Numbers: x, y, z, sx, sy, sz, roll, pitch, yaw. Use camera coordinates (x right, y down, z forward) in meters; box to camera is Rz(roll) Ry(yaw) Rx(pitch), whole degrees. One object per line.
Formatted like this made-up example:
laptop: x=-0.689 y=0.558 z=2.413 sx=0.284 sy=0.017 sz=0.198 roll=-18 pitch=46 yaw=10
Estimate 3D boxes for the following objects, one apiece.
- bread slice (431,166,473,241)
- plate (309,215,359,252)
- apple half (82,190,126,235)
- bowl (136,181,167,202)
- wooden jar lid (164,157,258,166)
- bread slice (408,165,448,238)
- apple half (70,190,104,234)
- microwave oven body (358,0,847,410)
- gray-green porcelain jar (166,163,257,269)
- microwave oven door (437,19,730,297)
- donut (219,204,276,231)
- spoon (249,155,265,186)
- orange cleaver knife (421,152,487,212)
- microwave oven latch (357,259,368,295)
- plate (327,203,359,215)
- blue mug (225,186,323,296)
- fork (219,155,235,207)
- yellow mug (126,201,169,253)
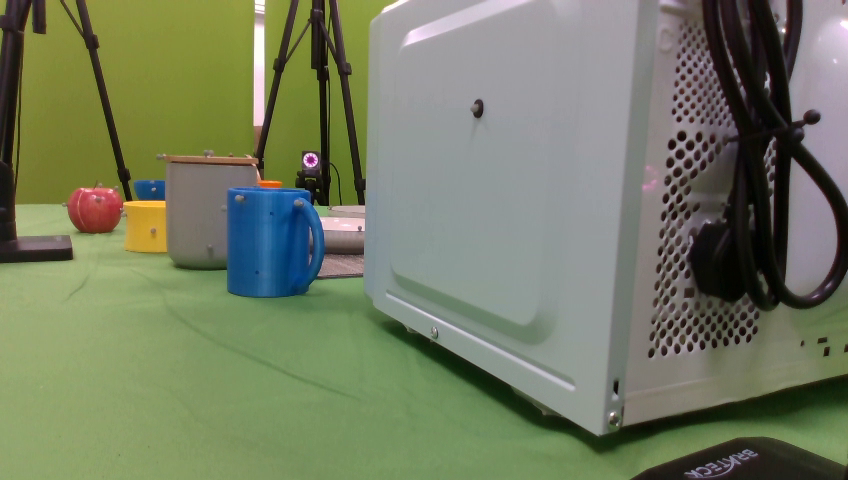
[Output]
bread slice: x=0.053 y=-0.063 z=1.056 sx=0.019 sy=0.131 sz=0.105 roll=10 pitch=11 yaw=36
plate: x=-0.130 y=-0.011 z=0.945 sx=0.208 sy=0.039 sz=0.207 roll=2 pitch=7 yaw=0
apple half: x=-0.516 y=-0.046 z=0.994 sx=0.032 sy=0.081 sz=0.081 roll=0 pitch=6 yaw=26
bowl: x=-0.497 y=-0.076 z=1.221 sx=0.151 sy=0.077 sz=0.151 roll=2 pitch=8 yaw=0
wooden jar lid: x=-0.261 y=-0.093 z=0.746 sx=0.108 sy=0.020 sz=0.108 roll=0 pitch=9 yaw=0
bread slice: x=0.012 y=-0.069 z=1.106 sx=0.018 sy=0.134 sz=0.107 roll=5 pitch=-2 yaw=32
apple half: x=-0.552 y=-0.048 z=1.010 sx=0.053 sy=0.074 sz=0.081 roll=-1 pitch=10 yaw=26
microwave oven body: x=0.210 y=-0.051 z=0.471 sx=0.444 sy=0.260 sz=0.324 roll=-1 pitch=7 yaw=-28
gray-green porcelain jar: x=-0.263 y=-0.031 z=0.754 sx=0.106 sy=0.126 sz=0.106 roll=2 pitch=7 yaw=0
microwave oven door: x=0.181 y=-0.076 z=0.618 sx=0.358 sy=0.243 sz=0.039 roll=-2 pitch=9 yaw=-28
donut: x=-0.316 y=-0.039 z=1.083 sx=0.099 sy=0.048 sz=0.099 roll=2 pitch=7 yaw=0
spoon: x=-0.417 y=-0.150 z=1.543 sx=0.042 sy=0.193 sz=0.021 roll=-3 pitch=-35 yaw=-34
orange cleaver knife: x=0.060 y=-0.094 z=1.141 sx=0.012 sy=0.077 sz=0.212 roll=7 pitch=-16 yaw=38
microwave oven latch: x=-0.019 y=0.031 z=0.529 sx=0.079 sy=0.029 sz=0.030 roll=-1 pitch=7 yaw=-26
plate: x=-0.102 y=-0.053 z=1.299 sx=0.209 sy=0.038 sz=0.209 roll=2 pitch=8 yaw=0
blue mug: x=-0.148 y=0.000 z=0.618 sx=0.116 sy=0.106 sz=0.083 roll=7 pitch=9 yaw=33
fork: x=-0.459 y=-0.134 z=1.415 sx=0.028 sy=0.018 sz=0.207 roll=-1 pitch=-34 yaw=-24
yellow mug: x=-0.361 y=-0.019 z=0.866 sx=0.130 sy=0.064 sz=0.100 roll=6 pitch=9 yaw=27
